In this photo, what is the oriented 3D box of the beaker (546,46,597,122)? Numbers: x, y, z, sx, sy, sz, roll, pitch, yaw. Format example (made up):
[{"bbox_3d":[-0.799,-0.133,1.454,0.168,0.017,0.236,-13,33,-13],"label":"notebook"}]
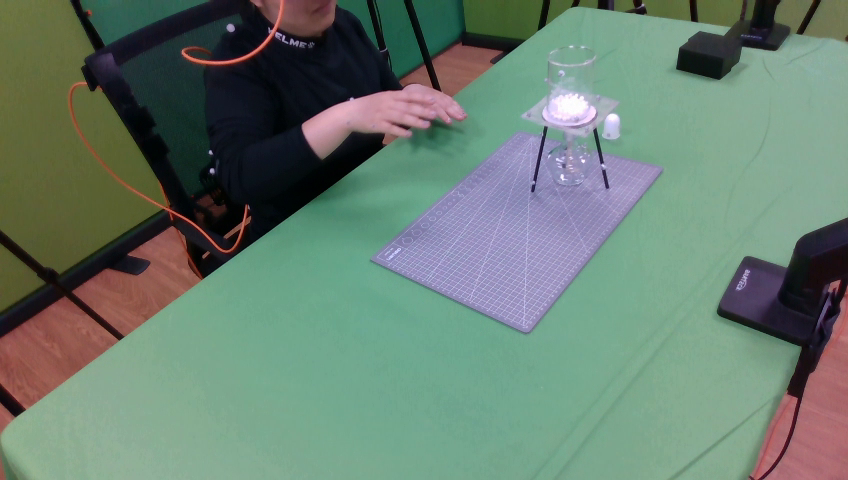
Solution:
[{"bbox_3d":[0.229,-0.246,0.962,0.083,0.101,0.074,25,49,34],"label":"beaker"}]

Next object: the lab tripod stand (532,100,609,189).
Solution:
[{"bbox_3d":[0.251,-0.161,1.034,0.148,0.132,0.147,-4,39,4],"label":"lab tripod stand"}]

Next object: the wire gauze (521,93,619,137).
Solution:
[{"bbox_3d":[0.240,-0.212,0.995,0.124,0.011,0.122,22,46,34],"label":"wire gauze"}]

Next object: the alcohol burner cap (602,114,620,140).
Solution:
[{"bbox_3d":[0.359,-0.217,1.157,0.034,0.048,0.033,-6,40,6],"label":"alcohol burner cap"}]

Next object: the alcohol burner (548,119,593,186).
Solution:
[{"bbox_3d":[0.252,-0.154,1.042,0.078,0.120,0.077,-7,40,7],"label":"alcohol burner"}]
